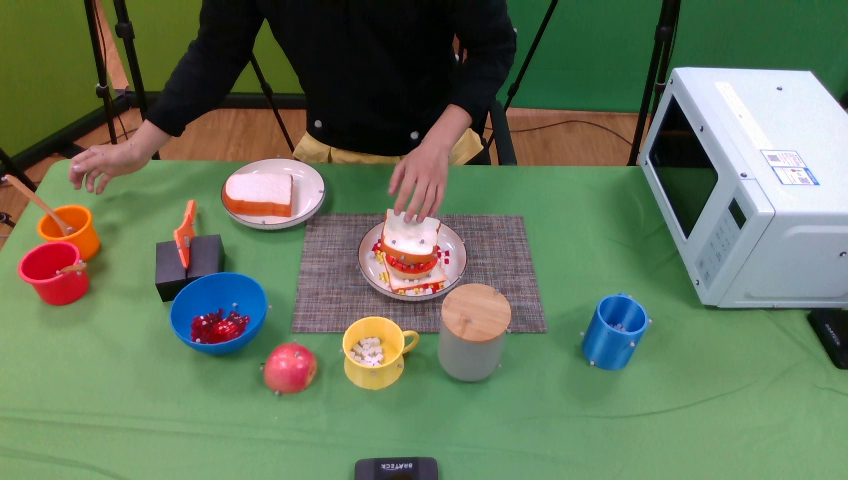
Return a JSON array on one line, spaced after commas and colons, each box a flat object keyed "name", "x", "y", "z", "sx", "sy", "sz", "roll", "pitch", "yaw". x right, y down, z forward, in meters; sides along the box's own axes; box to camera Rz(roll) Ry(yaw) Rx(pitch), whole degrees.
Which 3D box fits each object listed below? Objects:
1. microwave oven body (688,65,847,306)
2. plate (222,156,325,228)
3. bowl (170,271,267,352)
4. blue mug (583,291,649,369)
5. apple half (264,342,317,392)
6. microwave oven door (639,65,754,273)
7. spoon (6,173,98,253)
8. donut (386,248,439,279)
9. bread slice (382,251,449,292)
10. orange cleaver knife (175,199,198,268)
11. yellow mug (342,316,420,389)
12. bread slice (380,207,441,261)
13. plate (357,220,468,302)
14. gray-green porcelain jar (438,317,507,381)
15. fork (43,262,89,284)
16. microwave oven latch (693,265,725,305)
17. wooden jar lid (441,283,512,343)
[{"name": "microwave oven body", "x": 0.669, "y": -0.111, "z": 1.176, "sx": 0.326, "sy": 0.261, "sz": 0.439, "roll": 0, "pitch": 46, "yaw": -3}, {"name": "plate", "x": -0.308, "y": -0.095, "z": 1.251, "sx": 0.209, "sy": 0.038, "sz": 0.208, "roll": 3, "pitch": 46, "yaw": -3}, {"name": "bowl", "x": -0.333, "y": 0.132, "z": 1.006, "sx": 0.151, "sy": 0.077, "sz": 0.150, "roll": 2, "pitch": 46, "yaw": -2}, {"name": "blue mug", "x": 0.324, "y": 0.142, "z": 1.023, "sx": 0.082, "sy": 0.106, "sz": 0.116, "roll": 15, "pitch": 47, "yaw": 11}, {"name": "apple half", "x": -0.214, "y": 0.198, "z": 0.970, "sx": 0.074, "sy": 0.053, "sz": 0.080, "roll": 19, "pitch": 48, "yaw": 11}, {"name": "microwave oven door", "x": 0.522, "y": -0.147, "z": 1.193, "sx": 0.039, "sy": 0.245, "sz": 0.353, "roll": 0, "pitch": 47, "yaw": -3}, {"name": "spoon", "x": -0.678, "y": -0.050, "z": 1.106, "sx": 0.021, "sy": 0.194, "sz": 0.041, "roll": -19, "pitch": 27, "yaw": 43}, {"name": "donut", "x": -0.021, "y": 0.029, "z": 1.110, "sx": 0.099, "sy": 0.048, "sz": 0.098, "roll": 2, "pitch": 46, "yaw": -2}, {"name": "bread slice", "x": -0.026, "y": 0.039, "z": 1.139, "sx": 0.107, "sy": 0.018, "sz": 0.133, "roll": -12, "pitch": 47, "yaw": -16}, {"name": "orange cleaver knife", "x": -0.438, "y": -0.017, "z": 1.138, "sx": 0.012, "sy": 0.077, "sz": 0.210, "roll": -14, "pitch": 27, "yaw": -7}, {"name": "yellow mug", "x": -0.067, "y": 0.178, "z": 0.990, "sx": 0.131, "sy": 0.064, "sz": 0.099, "roll": -16, "pitch": 50, "yaw": -19}, {"name": "bread slice", "x": -0.023, "y": -0.010, "z": 1.062, "sx": 0.105, "sy": 0.019, "sz": 0.131, "roll": 13, "pitch": 35, "yaw": -4}, {"name": "plate", "x": -0.022, "y": 0.037, "z": 1.141, "sx": 0.208, "sy": 0.039, "sz": 0.206, "roll": 2, "pitch": 46, "yaw": -2}, {"name": "gray-green porcelain jar", "x": 0.076, "y": 0.158, "z": 0.977, "sx": 0.106, "sy": 0.127, "sz": 0.105, "roll": 2, "pitch": 47, "yaw": -2}, {"name": "fork", "x": -0.599, "y": 0.053, "z": 1.013, "sx": 0.207, "sy": 0.019, "sz": 0.028, "roll": -14, "pitch": 30, "yaw": 45}, {"name": "microwave oven latch", "x": 0.522, "y": 0.081, "z": 1.115, "sx": 0.030, "sy": 0.029, "sz": 0.078, "roll": 2, "pitch": 46, "yaw": -1}, {"name": "wooden jar lid", "x": 0.080, "y": 0.114, "z": 0.931, "sx": 0.108, "sy": 0.021, "sz": 0.107, "roll": 1, "pitch": 49, "yaw": -1}]
